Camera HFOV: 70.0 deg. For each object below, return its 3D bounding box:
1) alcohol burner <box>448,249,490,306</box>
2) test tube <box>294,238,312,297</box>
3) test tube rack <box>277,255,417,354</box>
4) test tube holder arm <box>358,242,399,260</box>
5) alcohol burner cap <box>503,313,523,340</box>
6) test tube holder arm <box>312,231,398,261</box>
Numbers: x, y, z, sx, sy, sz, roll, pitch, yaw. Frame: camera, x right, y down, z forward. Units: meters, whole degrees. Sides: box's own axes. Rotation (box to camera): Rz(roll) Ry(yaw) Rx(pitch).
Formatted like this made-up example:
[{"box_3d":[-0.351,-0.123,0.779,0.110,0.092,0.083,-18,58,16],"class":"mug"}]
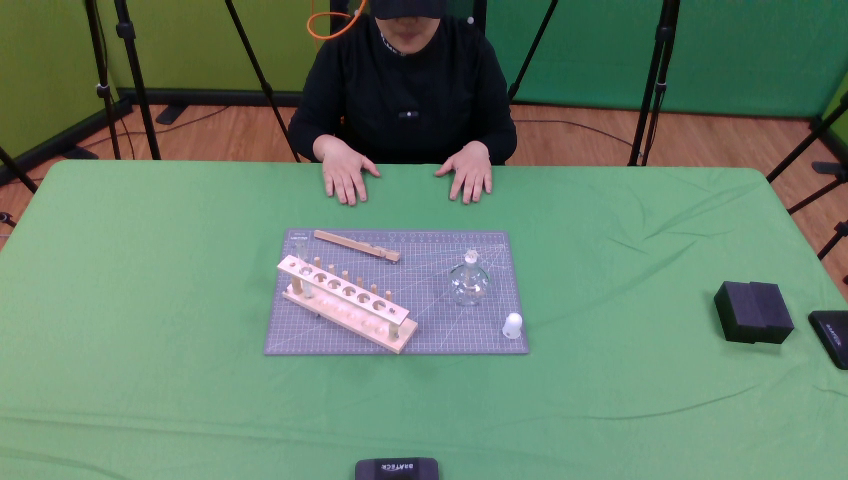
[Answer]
[{"box_3d":[0.081,0.062,1.078,0.078,0.120,0.077,1,45,-1],"class":"alcohol burner"},{"box_3d":[-0.202,0.050,1.018,0.017,0.151,0.017,2,50,-2],"class":"test tube"},{"box_3d":[-0.131,0.099,1.045,0.241,0.085,0.066,23,49,17],"class":"test tube rack"},{"box_3d":[-0.090,0.021,1.172,0.087,0.015,0.010,15,14,12],"class":"test tube holder arm"},{"box_3d":[0.155,0.147,1.051,0.034,0.048,0.033,1,45,-1],"class":"alcohol burner cap"},{"box_3d":[-0.134,0.011,1.176,0.178,0.015,0.013,15,14,11],"class":"test tube holder arm"}]
